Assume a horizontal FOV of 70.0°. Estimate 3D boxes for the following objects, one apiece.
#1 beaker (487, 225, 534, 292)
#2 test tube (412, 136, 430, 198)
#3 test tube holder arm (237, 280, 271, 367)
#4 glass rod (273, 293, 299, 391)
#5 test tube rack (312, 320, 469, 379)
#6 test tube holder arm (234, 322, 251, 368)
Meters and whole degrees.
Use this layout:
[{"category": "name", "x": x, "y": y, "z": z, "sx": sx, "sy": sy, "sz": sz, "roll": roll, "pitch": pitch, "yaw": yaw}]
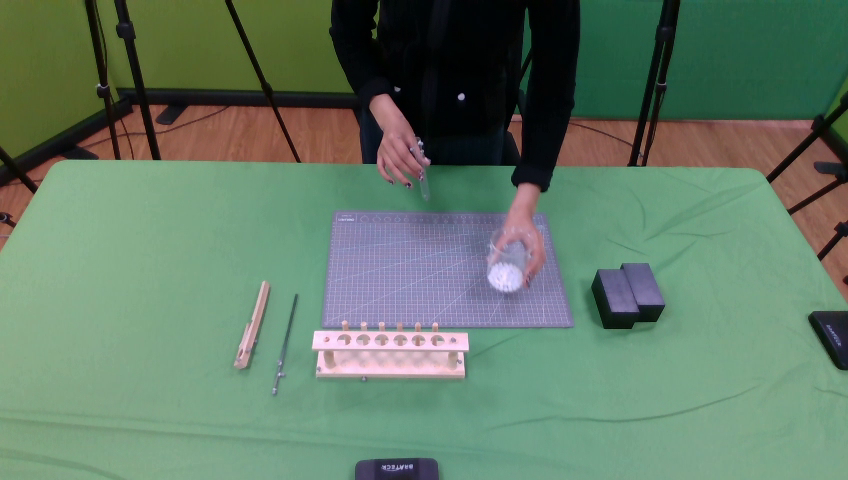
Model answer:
[{"category": "beaker", "x": 0.148, "y": 0.034, "z": 1.061, "sx": 0.074, "sy": 0.101, "sz": 0.083, "roll": 7, "pitch": 43, "yaw": 5}, {"category": "test tube", "x": -0.005, "y": -0.136, "z": 1.153, "sx": 0.017, "sy": 0.151, "sz": 0.017, "roll": -5, "pitch": 49, "yaw": 6}, {"category": "test tube holder arm", "x": -0.290, "y": 0.139, "z": 1.042, "sx": 0.013, "sy": 0.015, "sz": 0.177, "roll": -17, "pitch": 41, "yaw": 22}, {"category": "glass rod", "x": -0.233, "y": 0.167, "z": 1.030, "sx": 0.008, "sy": 0.008, "sz": 0.198, "roll": 3, "pitch": 46, "yaw": 0}, {"category": "test tube rack", "x": -0.054, "y": 0.173, "z": 0.984, "sx": 0.242, "sy": 0.085, "sz": 0.066, "roll": 1, "pitch": 46, "yaw": -3}, {"category": "test tube holder arm", "x": -0.299, "y": 0.173, "z": 1.012, "sx": 0.010, "sy": 0.015, "sz": 0.087, "roll": -17, "pitch": 41, "yaw": 23}]
